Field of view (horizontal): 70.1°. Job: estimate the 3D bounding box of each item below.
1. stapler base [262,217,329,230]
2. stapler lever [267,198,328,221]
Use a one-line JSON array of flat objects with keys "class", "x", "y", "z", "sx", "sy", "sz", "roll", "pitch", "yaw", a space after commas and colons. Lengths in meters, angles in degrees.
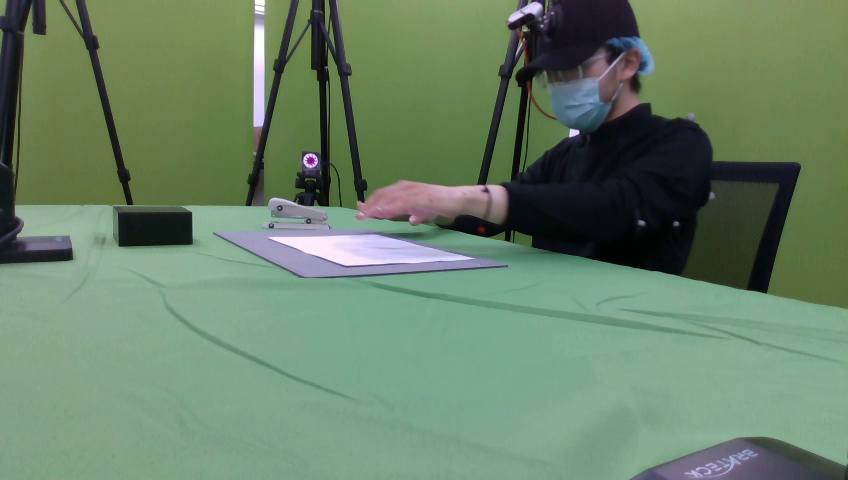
[{"class": "stapler base", "x": -0.253, "y": -0.036, "z": 1.201, "sx": 0.131, "sy": 0.024, "sz": 0.041, "roll": 3, "pitch": 10, "yaw": -8}, {"class": "stapler lever", "x": -0.250, "y": -0.061, "z": 1.198, "sx": 0.118, "sy": 0.040, "sz": 0.027, "roll": 3, "pitch": 10, "yaw": -8}]
